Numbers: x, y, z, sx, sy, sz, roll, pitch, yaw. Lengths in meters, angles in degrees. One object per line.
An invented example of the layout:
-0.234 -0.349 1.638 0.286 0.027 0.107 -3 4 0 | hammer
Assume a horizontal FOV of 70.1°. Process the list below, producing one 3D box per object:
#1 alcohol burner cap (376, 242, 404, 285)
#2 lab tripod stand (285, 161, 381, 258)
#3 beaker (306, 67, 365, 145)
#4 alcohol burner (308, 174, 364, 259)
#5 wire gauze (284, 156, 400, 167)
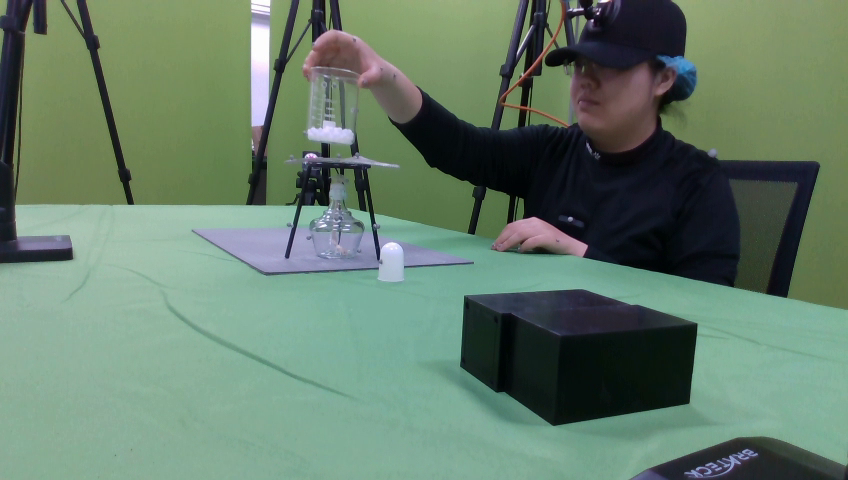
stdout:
-0.039 0.026 0.710 0.034 0.048 0.034 3 7 0 | alcohol burner cap
-0.123 -0.043 0.842 0.148 0.131 0.148 3 9 0 | lab tripod stand
-0.128 -0.189 0.864 0.084 0.100 0.073 3 7 -28 | beaker
-0.121 -0.033 0.843 0.078 0.119 0.078 3 5 0 | alcohol burner
-0.115 -0.109 0.835 0.126 0.011 0.121 -3 10 -30 | wire gauze
